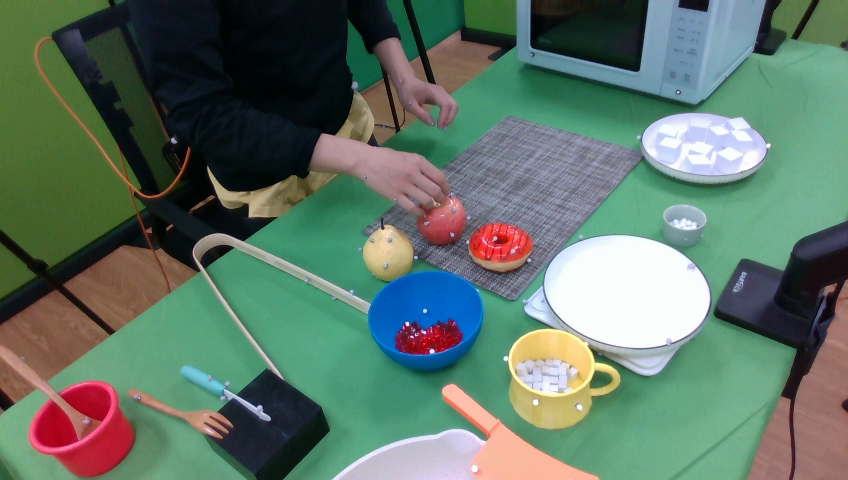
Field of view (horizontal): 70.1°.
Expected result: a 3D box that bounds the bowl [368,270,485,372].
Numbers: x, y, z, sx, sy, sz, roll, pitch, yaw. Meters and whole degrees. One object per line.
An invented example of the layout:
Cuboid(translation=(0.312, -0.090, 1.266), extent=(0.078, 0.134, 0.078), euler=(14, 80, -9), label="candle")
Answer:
Cuboid(translation=(0.007, 0.118, 0.791), extent=(0.151, 0.077, 0.150), euler=(-5, 40, 4), label="bowl")

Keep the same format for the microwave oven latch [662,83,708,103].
Cuboid(translation=(0.517, -0.296, 1.204), extent=(0.078, 0.029, 0.030), euler=(27, 52, 35), label="microwave oven latch")

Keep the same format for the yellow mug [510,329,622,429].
Cuboid(translation=(0.168, 0.164, 0.721), extent=(0.130, 0.064, 0.099), euler=(0, 40, 8), label="yellow mug")

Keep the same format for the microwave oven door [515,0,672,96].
Cuboid(translation=(0.343, -0.454, 1.259), extent=(0.353, 0.245, 0.039), euler=(26, 51, 33), label="microwave oven door")

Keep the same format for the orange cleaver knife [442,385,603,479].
Cuboid(translation=(0.086, 0.219, 0.612), extent=(0.209, 0.012, 0.077), euler=(28, 49, 35), label="orange cleaver knife")

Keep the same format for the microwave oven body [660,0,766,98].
Cuboid(translation=(0.472, -0.513, 1.317), extent=(0.438, 0.261, 0.327), euler=(26, 51, 34), label="microwave oven body")

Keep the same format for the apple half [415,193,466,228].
Cuboid(translation=(0.028, -0.042, 0.974), extent=(0.081, 0.075, 0.053), euler=(-5, 37, 8), label="apple half")

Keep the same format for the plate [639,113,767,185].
Cuboid(translation=(0.489, -0.157, 1.074), extent=(0.207, 0.039, 0.206), euler=(-4, 40, 4), label="plate")

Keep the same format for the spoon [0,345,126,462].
Cuboid(translation=(-0.434, 0.192, 0.720), extent=(0.194, 0.021, 0.042), euler=(47, 53, -7), label="spoon")

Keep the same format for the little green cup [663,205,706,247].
Cuboid(translation=(0.396, -0.020, 0.926), extent=(0.061, 0.039, 0.061), euler=(-4, 40, 4), label="little green cup")

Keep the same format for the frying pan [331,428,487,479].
Cuboid(translation=(-0.089, 0.306, 0.564), extent=(0.487, 0.103, 0.306), euler=(9, 41, 7), label="frying pan")

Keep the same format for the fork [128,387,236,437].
Cuboid(translation=(-0.305, 0.207, 0.744), extent=(0.206, 0.019, 0.028), euler=(3, 41, 36), label="fork")

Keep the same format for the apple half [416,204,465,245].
Cuboid(translation=(0.027, -0.018, 0.944), extent=(0.081, 0.081, 0.032), euler=(-4, 37, 4), label="apple half")

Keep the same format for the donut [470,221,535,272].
Cuboid(translation=(0.119, 0.009, 0.923), extent=(0.099, 0.048, 0.098), euler=(-3, 39, 3), label="donut")

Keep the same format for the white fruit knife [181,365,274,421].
Cuboid(translation=(-0.246, 0.187, 0.747), extent=(0.205, 0.027, 0.016), euler=(9, 41, 41), label="white fruit knife")

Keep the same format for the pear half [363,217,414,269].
Cuboid(translation=(-0.058, 0.002, 0.913), extent=(0.076, 0.110, 0.055), euler=(-15, 40, -13), label="pear half")

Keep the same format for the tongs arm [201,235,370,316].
Cuboid(translation=(-0.209, 0.061, 0.924), extent=(0.381, 0.026, 0.051), euler=(23, 53, 33), label="tongs arm")

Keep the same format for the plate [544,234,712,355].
Cuboid(translation=(0.262, 0.072, 0.792), extent=(0.209, 0.038, 0.208), euler=(-4, 41, 4), label="plate")

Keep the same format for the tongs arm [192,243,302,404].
Cuboid(translation=(-0.268, 0.108, 0.883), extent=(0.028, 0.028, 0.384), euler=(-35, 46, -18), label="tongs arm")

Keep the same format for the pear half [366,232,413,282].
Cuboid(translation=(-0.048, 0.031, 0.893), extent=(0.071, 0.088, 0.031), euler=(-16, 40, -13), label="pear half")

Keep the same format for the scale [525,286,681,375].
Cuboid(translation=(0.254, 0.091, 0.821), extent=(0.199, 0.032, 0.149), euler=(28, 51, 35), label="scale")
